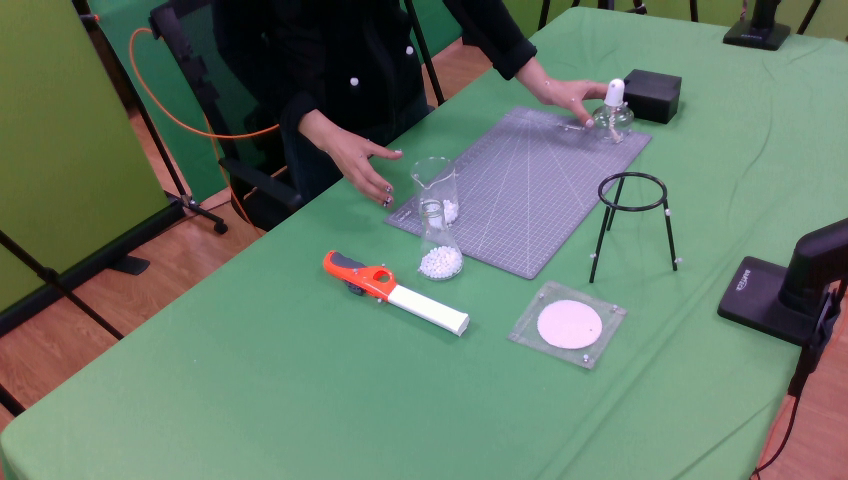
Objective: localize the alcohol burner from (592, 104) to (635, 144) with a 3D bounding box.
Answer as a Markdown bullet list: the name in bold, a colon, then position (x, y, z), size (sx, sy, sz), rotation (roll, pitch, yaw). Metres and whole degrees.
- **alcohol burner**: position (0.353, -0.242, 1.126), size (0.078, 0.119, 0.077), rotation (-5, 38, 4)

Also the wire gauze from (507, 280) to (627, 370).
- **wire gauze**: position (0.196, 0.114, 0.823), size (0.120, 0.011, 0.125), rotation (20, 50, 31)

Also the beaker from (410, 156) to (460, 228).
- **beaker**: position (0.020, -0.076, 1.006), size (0.074, 0.101, 0.084), rotation (3, 42, 15)

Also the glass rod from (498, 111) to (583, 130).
- **glass rod**: position (0.234, -0.245, 1.236), size (0.198, 0.008, 0.008), rotation (20, 49, 35)

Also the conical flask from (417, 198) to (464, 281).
- **conical flask**: position (0.019, -0.004, 0.907), size (0.075, 0.122, 0.075), rotation (-5, 40, 5)

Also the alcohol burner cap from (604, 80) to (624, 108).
- **alcohol burner cap**: position (0.350, -0.269, 1.102), size (0.034, 0.048, 0.033), rotation (-2, 46, 2)

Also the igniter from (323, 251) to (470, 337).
- **igniter**: position (-0.052, 0.075, 0.901), size (0.274, 0.025, 0.057), rotation (22, 60, 32)

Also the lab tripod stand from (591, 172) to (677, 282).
- **lab tripod stand**: position (0.292, -0.022, 0.867), size (0.148, 0.132, 0.147), rotation (-7, 39, 6)
